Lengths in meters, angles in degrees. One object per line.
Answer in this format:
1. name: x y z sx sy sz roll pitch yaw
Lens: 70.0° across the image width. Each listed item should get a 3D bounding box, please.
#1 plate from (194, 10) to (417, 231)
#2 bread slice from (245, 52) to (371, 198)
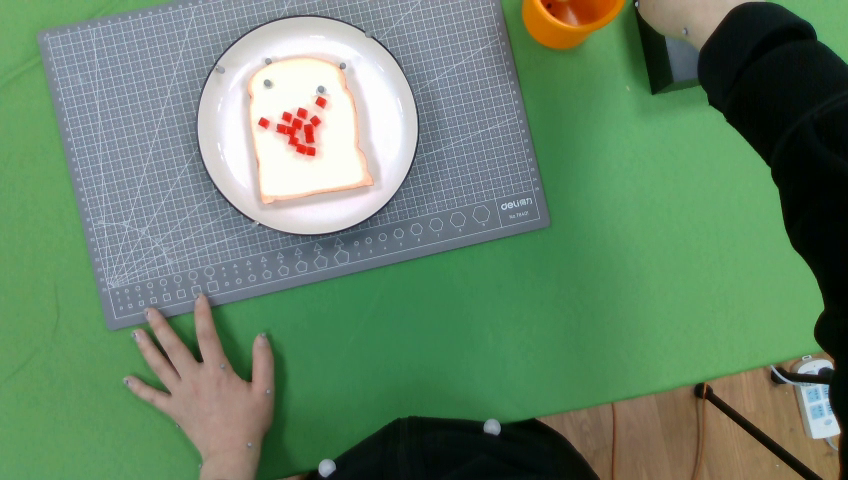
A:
1. plate: -0.110 -0.112 0.584 0.209 0.038 0.209 0 90 -3
2. bread slice: -0.119 -0.112 0.584 0.107 0.018 0.134 -13 90 -4
